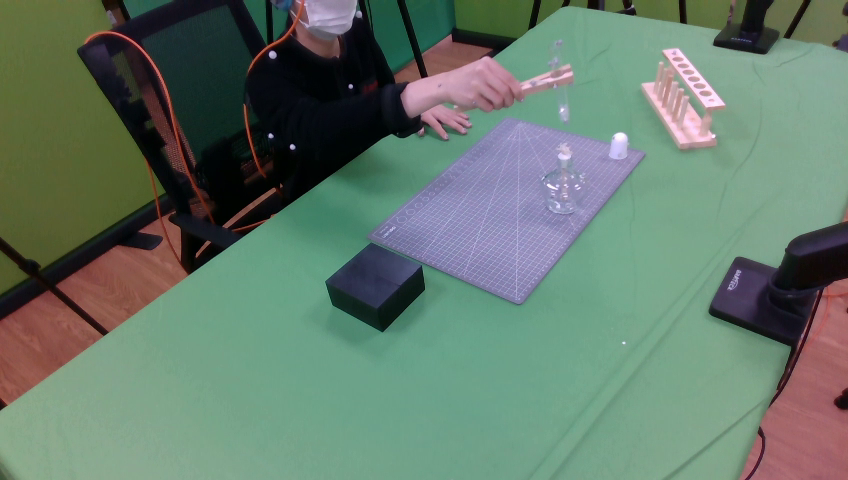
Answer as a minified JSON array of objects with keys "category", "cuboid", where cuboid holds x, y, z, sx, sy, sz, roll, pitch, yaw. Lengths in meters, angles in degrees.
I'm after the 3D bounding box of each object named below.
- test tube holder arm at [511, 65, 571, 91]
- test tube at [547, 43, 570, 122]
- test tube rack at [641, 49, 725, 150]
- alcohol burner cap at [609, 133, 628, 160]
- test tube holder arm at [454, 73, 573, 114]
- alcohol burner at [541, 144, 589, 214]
[{"category":"test tube holder arm","cuboid":[0.172,-0.232,0.886,0.087,0.015,0.010,-20,53,10]},{"category":"test tube","cuboid":[0.199,-0.227,0.890,0.017,0.151,0.017,-10,55,15]},{"category":"test tube rack","cuboid":[0.495,-0.279,1.175,0.067,0.085,0.241,-5,41,3]},{"category":"alcohol burner cap","cuboid":[0.356,-0.172,1.101,0.034,0.048,0.033,-5,41,5]},{"category":"test tube holder arm","cuboid":[0.130,-0.216,0.893,0.178,0.015,0.013,-13,54,15]},{"category":"alcohol burner","cuboid":[0.229,-0.102,0.983,0.078,0.119,0.077,-6,41,5]}]
